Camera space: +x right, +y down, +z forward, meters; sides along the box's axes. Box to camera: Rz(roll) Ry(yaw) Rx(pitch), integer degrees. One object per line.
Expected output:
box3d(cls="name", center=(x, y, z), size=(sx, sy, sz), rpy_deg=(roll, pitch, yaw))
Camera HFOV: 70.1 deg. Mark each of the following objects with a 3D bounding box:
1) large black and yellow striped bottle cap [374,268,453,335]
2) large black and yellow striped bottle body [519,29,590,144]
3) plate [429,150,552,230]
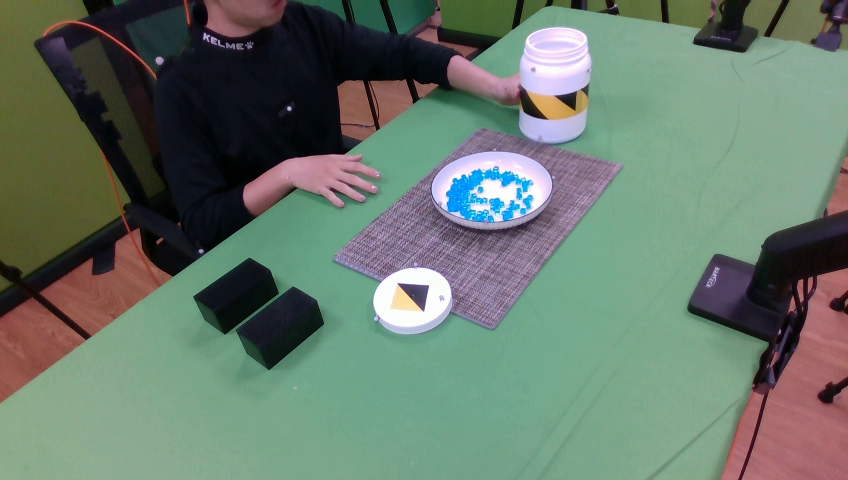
box3d(cls="large black and yellow striped bottle cap", center=(-0.015, 0.087, 0.871), size=(0.115, 0.019, 0.114), rpy_deg=(-6, 43, 6))
box3d(cls="large black and yellow striped bottle body", center=(0.246, -0.291, 1.149), size=(0.131, 0.185, 0.130), rpy_deg=(-4, 41, 4))
box3d(cls="plate", center=(0.113, -0.082, 1.032), size=(0.207, 0.039, 0.206), rpy_deg=(-4, 41, 4))
